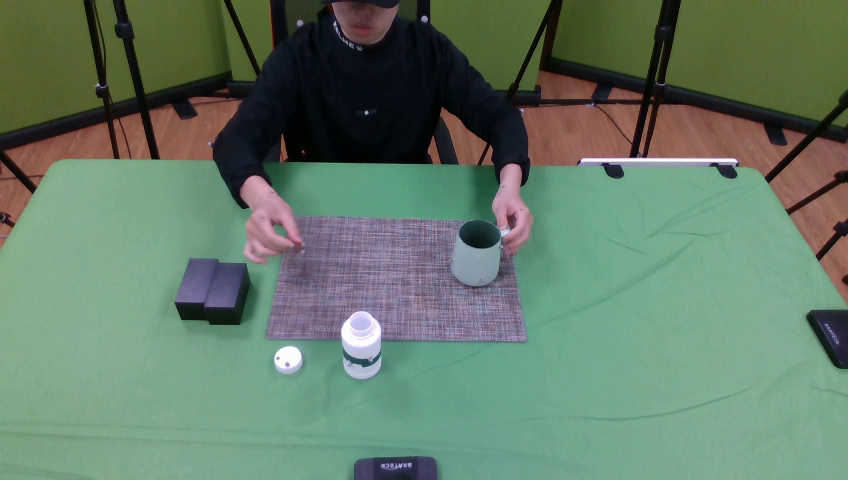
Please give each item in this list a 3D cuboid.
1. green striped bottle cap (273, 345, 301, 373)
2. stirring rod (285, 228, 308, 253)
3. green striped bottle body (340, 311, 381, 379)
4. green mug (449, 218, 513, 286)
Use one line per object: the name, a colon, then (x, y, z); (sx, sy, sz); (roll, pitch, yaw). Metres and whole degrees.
green striped bottle cap: (-0.225, 0.195, 0.997); (0.044, 0.020, 0.044); (3, 50, -3)
stirring rod: (-0.215, -0.001, 1.016); (0.014, 0.006, 0.175); (20, 5, -23)
green striped bottle body: (-0.101, 0.164, 0.964); (0.063, 0.120, 0.063); (2, 46, -2)
green mug: (0.110, 0.018, 1.126); (0.125, 0.105, 0.092); (-20, 50, -22)
